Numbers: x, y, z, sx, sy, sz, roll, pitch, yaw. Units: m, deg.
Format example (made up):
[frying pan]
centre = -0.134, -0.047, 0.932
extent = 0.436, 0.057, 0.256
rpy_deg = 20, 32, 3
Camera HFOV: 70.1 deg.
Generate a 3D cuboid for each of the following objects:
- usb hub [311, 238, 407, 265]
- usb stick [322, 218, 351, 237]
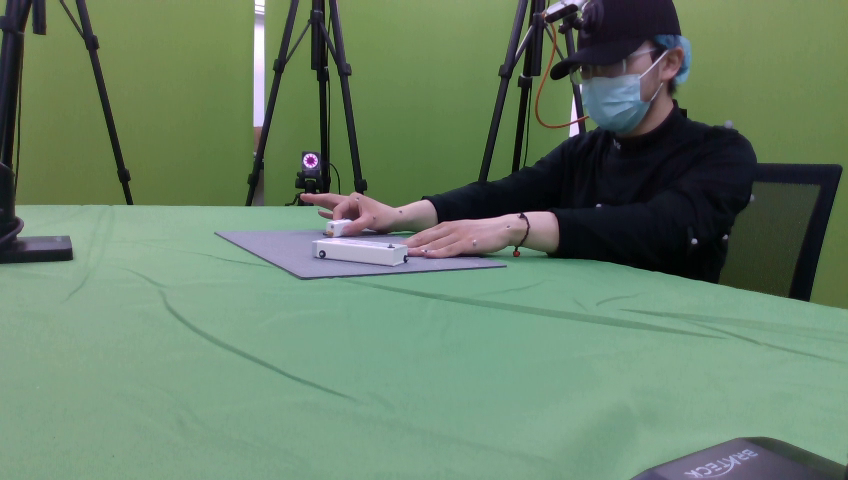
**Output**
[usb hub]
centre = -0.089, 0.015, 0.828
extent = 0.125, 0.025, 0.050
rpy_deg = 5, 8, 21
[usb stick]
centre = -0.156, -0.022, 1.071
extent = 0.021, 0.027, 0.059
rpy_deg = 14, 22, 34
